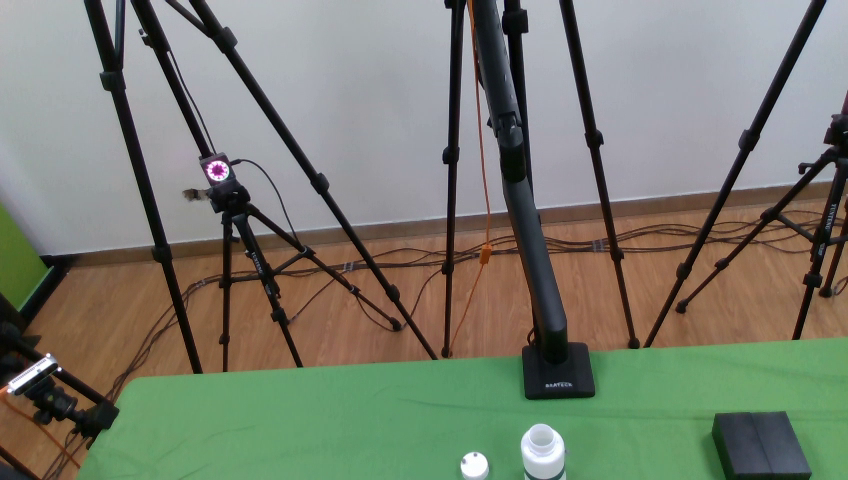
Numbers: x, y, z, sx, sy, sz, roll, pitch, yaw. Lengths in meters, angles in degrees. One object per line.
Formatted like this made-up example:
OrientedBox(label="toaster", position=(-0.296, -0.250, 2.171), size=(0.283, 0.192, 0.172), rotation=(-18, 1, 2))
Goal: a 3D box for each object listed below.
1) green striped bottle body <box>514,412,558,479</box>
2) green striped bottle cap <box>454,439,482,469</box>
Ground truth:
OrientedBox(label="green striped bottle body", position=(0.169, 0.308, 0.912), size=(0.063, 0.120, 0.062), rotation=(-7, 40, 6))
OrientedBox(label="green striped bottle cap", position=(0.072, 0.345, 0.977), size=(0.044, 0.020, 0.044), rotation=(-6, 44, 6))
